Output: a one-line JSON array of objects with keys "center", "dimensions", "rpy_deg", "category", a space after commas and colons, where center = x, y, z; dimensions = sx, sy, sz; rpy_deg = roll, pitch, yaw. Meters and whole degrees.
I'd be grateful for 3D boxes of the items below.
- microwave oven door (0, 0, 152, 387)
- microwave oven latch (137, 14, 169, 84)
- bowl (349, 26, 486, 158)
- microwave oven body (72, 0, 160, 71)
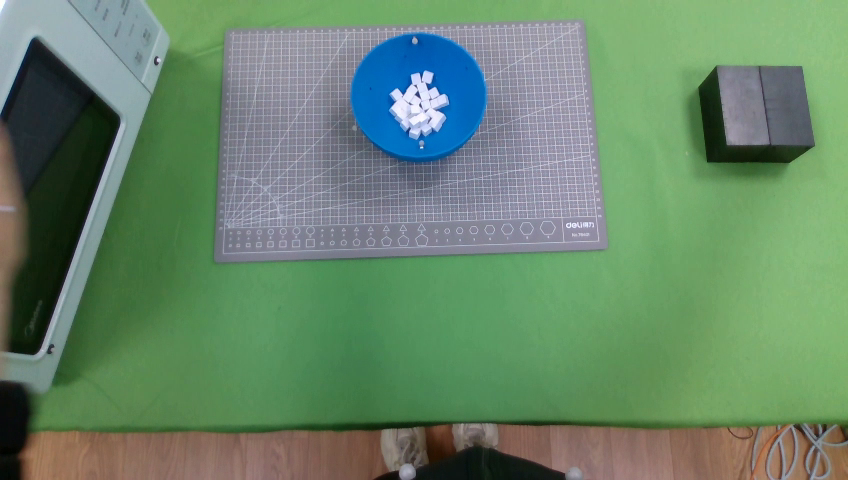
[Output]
[{"center": [-0.375, -0.044, 0.564], "dimensions": [0.039, 0.245, 0.354], "rpy_deg": [12, 76, 3], "category": "microwave oven door"}, {"center": [-0.327, -0.227, 0.713], "dimensions": [0.030, 0.029, 0.079], "rpy_deg": [13, 77, 2], "category": "microwave oven latch"}, {"center": [-0.007, -0.156, 0.693], "dimensions": [0.151, 0.077, 0.150], "rpy_deg": [0, 77, 0], "category": "bowl"}, {"center": [-0.509, -0.113, 0.585], "dimensions": [0.326, 0.261, 0.440], "rpy_deg": [12, 77, 2], "category": "microwave oven body"}]
